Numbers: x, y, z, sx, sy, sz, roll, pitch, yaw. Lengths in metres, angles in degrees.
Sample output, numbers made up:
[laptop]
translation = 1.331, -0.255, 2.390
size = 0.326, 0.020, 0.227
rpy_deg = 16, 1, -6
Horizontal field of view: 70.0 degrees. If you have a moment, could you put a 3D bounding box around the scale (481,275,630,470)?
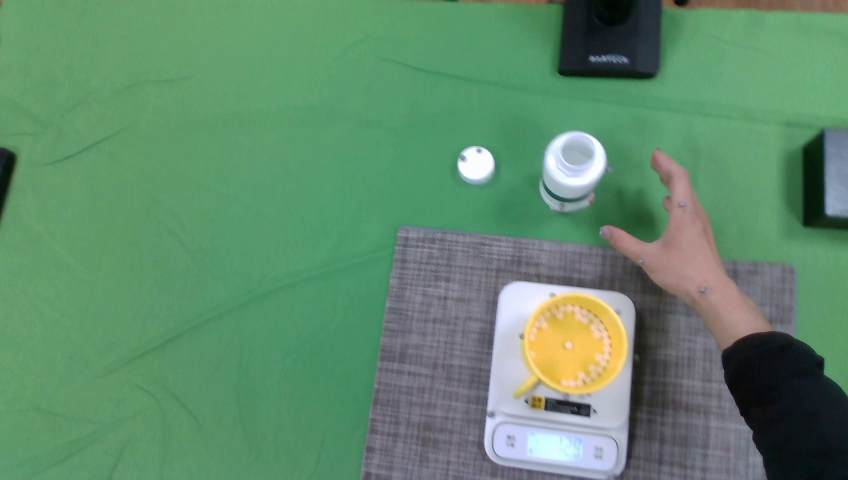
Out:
[scale]
translation = 0.144, 0.141, 0.661
size = 0.148, 0.032, 0.200
rpy_deg = 5, 79, 8

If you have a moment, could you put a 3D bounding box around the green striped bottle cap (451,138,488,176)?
[green striped bottle cap]
translation = 0.055, -0.101, 0.735
size = 0.044, 0.020, 0.044
rpy_deg = -1, 82, 6

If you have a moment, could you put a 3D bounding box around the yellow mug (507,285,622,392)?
[yellow mug]
translation = 0.134, 0.110, 0.620
size = 0.131, 0.064, 0.099
rpy_deg = -43, 77, -3

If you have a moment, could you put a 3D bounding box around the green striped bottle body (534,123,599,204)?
[green striped bottle body]
translation = 0.155, -0.085, 0.667
size = 0.063, 0.120, 0.063
rpy_deg = -1, 77, 7
